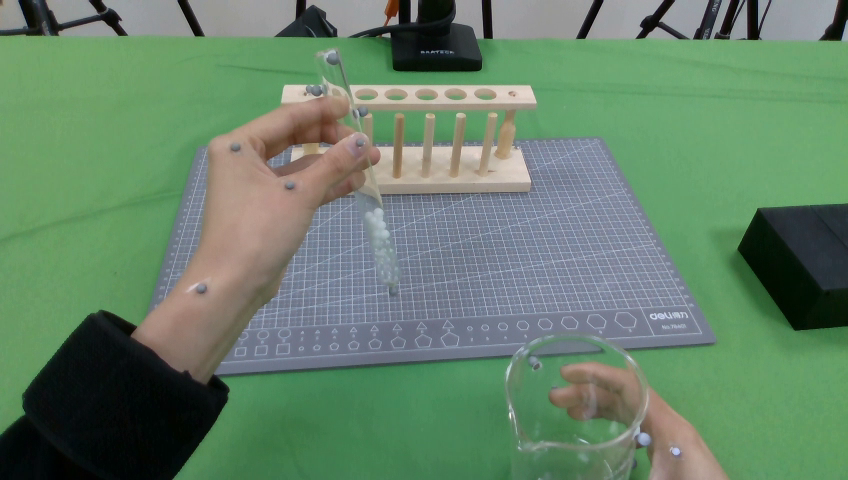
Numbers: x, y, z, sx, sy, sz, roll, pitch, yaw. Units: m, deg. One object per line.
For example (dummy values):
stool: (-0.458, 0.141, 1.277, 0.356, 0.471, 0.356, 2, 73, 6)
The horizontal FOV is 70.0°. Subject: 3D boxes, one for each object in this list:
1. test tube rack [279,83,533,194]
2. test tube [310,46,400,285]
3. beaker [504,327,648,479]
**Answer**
test tube rack: (-0.016, -0.101, 0.601, 0.243, 0.086, 0.066, -1, 43, -5)
test tube: (-0.039, -0.039, 0.365, 0.017, 0.151, 0.017, -12, 23, 5)
beaker: (0.082, 0.113, 0.348, 0.084, 0.101, 0.073, -36, 47, -29)
